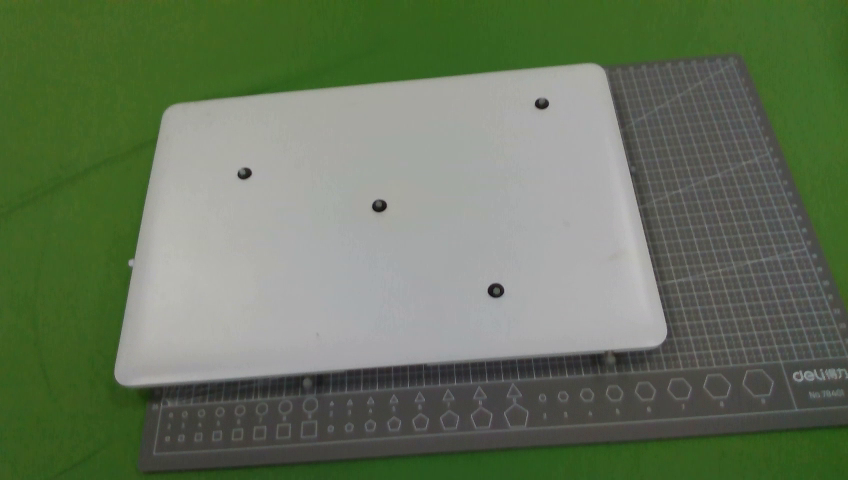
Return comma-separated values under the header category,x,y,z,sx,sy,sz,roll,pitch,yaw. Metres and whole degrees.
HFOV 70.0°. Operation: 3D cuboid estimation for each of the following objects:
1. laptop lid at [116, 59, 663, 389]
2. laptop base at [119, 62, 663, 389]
category,x,y,z,sx,sy,sz,roll,pitch,yaw
laptop lid,-0.032,-0.023,0.429,0.356,0.013,0.239,-3,64,4
laptop base,-0.030,-0.019,0.440,0.354,0.023,0.233,-5,65,3
